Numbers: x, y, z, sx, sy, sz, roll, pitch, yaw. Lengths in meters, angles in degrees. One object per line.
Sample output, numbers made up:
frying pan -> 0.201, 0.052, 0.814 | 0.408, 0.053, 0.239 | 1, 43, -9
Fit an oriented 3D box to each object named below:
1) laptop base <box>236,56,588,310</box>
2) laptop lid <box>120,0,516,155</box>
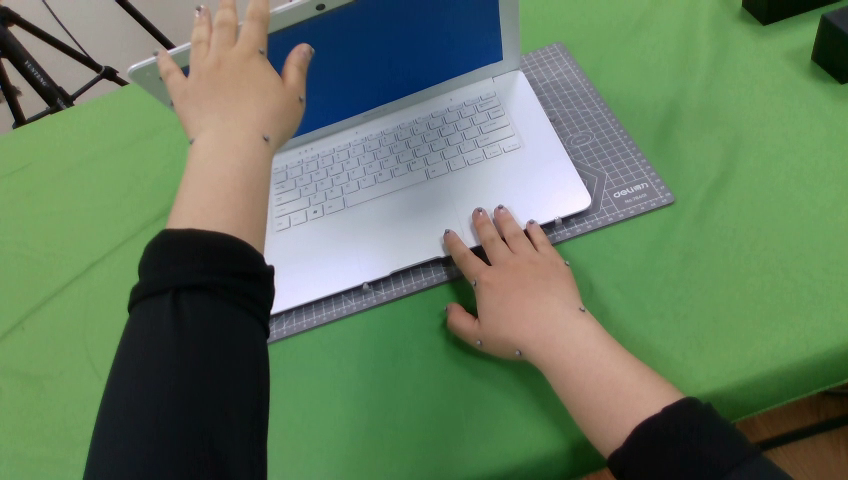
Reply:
laptop base -> -0.034, -0.069, 0.646 | 0.354, 0.023, 0.233 | -19, 52, 4
laptop lid -> -0.077, -0.186, 0.606 | 0.356, 0.243, 0.013 | -20, 75, 5
